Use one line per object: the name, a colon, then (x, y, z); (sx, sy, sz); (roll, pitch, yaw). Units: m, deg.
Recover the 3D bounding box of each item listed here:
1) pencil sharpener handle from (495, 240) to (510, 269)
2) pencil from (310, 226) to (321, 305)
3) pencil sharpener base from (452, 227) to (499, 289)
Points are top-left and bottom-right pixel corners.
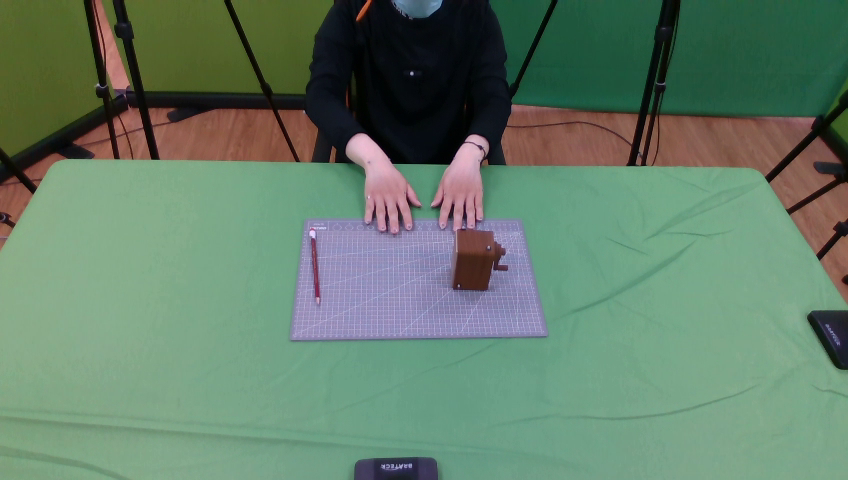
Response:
pencil sharpener handle: (0.145, 0.029, 1.095); (0.030, 0.068, 0.036); (3, 47, -1)
pencil: (-0.204, 0.045, 1.141); (0.012, 0.012, 0.192); (-6, 49, -9)
pencil sharpener base: (0.093, 0.035, 1.102); (0.077, 0.107, 0.061); (3, 46, -1)
